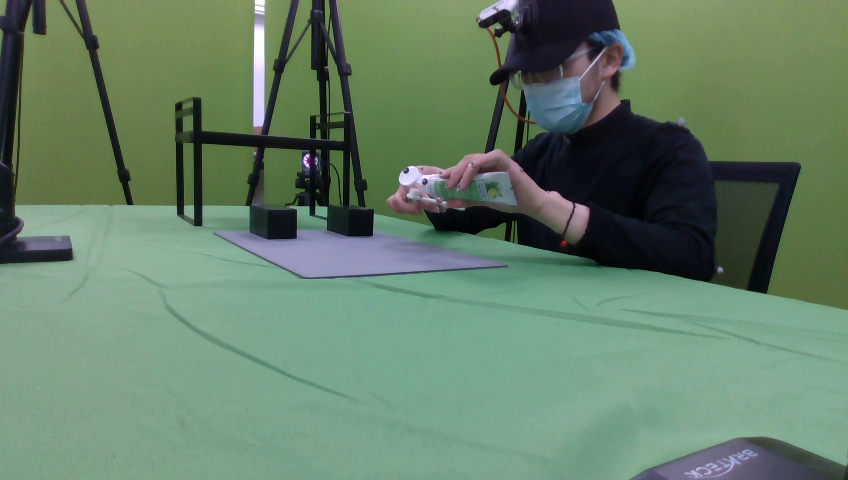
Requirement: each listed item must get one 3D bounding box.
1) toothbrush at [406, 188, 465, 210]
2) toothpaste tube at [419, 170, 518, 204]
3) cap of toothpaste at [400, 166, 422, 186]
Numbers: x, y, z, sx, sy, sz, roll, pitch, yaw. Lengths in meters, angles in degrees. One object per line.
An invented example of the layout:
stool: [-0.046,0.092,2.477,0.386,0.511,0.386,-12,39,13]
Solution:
toothbrush: [0.024,-0.065,0.991,0.014,0.016,0.183,34,13,28]
toothpaste tube: [0.059,-0.080,0.877,0.164,0.055,0.034,7,46,39]
cap of toothpaste: [-0.019,-0.096,0.920,0.037,0.037,0.011,7,-21,32]
